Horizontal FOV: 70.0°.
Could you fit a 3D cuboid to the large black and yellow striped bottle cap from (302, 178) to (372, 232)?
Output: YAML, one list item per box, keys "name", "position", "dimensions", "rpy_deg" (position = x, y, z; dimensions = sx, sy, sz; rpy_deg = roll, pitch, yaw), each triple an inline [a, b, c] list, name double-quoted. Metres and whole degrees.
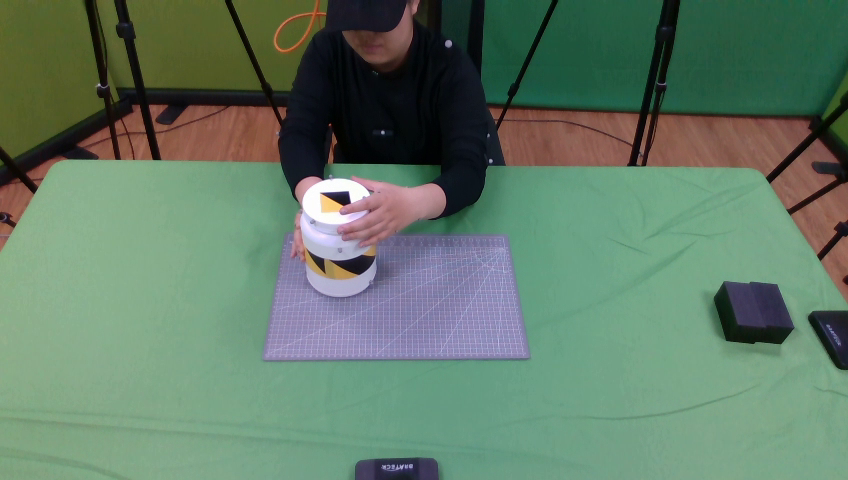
- name: "large black and yellow striped bottle cap"
  position: [-0.145, -0.060, 1.012]
  dimensions: [0.115, 0.019, 0.114]
  rpy_deg: [2, 47, -2]

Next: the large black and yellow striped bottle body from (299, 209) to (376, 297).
- name: "large black and yellow striped bottle body"
  position: [-0.151, -0.002, 1.073]
  dimensions: [0.131, 0.185, 0.130]
  rpy_deg: [2, 46, -2]
